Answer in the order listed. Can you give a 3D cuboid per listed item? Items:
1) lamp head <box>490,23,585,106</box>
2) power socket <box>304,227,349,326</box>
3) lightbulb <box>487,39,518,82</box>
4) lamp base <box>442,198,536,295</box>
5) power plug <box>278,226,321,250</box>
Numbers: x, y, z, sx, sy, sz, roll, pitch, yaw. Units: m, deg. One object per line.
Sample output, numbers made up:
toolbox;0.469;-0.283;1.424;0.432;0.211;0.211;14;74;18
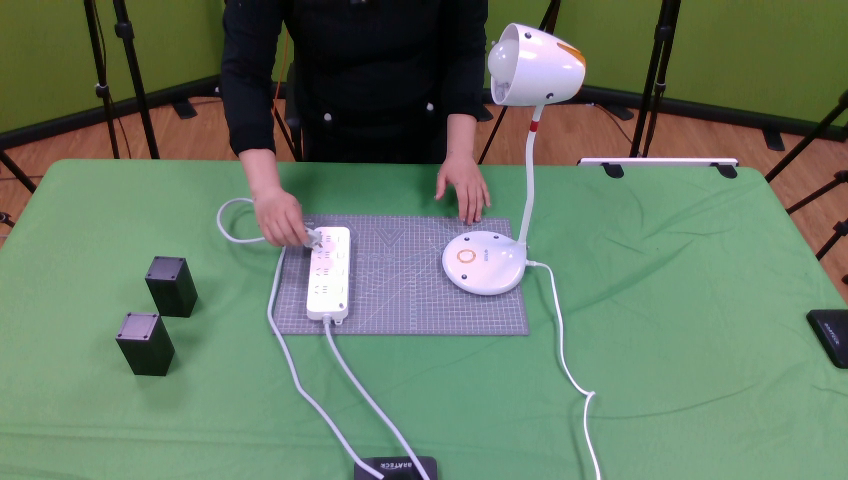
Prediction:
lamp head;0.165;-0.241;0.872;0.123;0.113;0.111;9;43;-17
power socket;-0.177;0.059;1.115;0.072;0.033;0.225;-1;46;-4
lightbulb;0.143;-0.252;0.865;0.108;0.060;0.059;9;45;-7
lamp base;0.130;-0.012;1.105;0.179;0.181;0.159;-1;46;-9
power plug;-0.221;-0.004;1.104;0.072;0.053;0.035;6;49;27
